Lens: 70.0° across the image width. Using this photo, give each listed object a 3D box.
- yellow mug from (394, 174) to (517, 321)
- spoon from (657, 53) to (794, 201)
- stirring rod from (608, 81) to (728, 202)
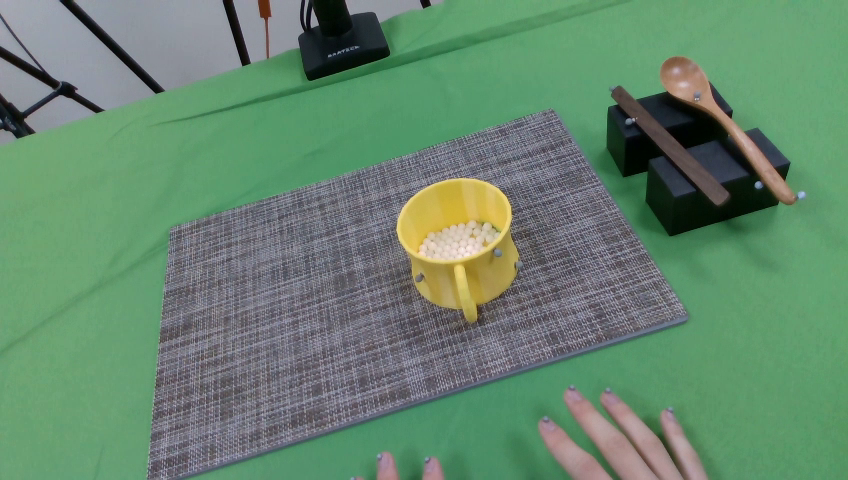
[{"bbox_3d":[0.031,0.011,0.524,0.100,0.064,0.129,-12,49,6],"label":"yellow mug"},{"bbox_3d":[0.260,-0.104,0.530,0.041,0.022,0.191,-16,49,-1],"label":"spoon"},{"bbox_3d":[0.210,-0.093,0.537,0.014,0.006,0.174,-48,43,24],"label":"stirring rod"}]
